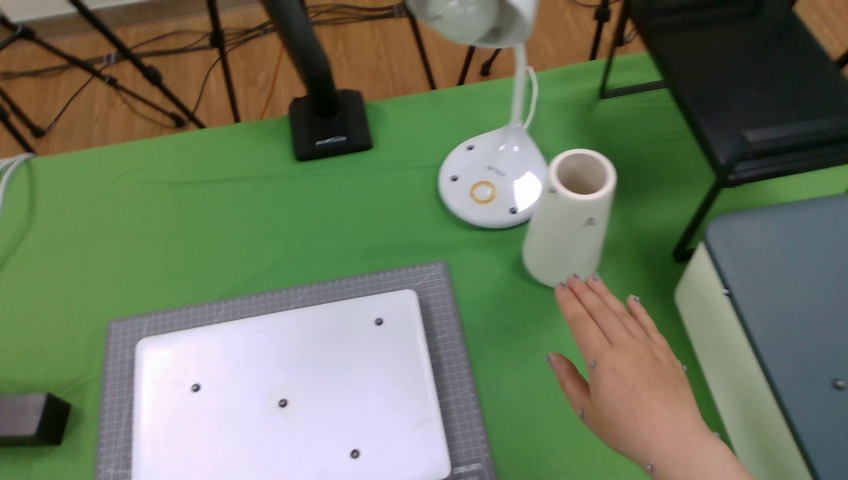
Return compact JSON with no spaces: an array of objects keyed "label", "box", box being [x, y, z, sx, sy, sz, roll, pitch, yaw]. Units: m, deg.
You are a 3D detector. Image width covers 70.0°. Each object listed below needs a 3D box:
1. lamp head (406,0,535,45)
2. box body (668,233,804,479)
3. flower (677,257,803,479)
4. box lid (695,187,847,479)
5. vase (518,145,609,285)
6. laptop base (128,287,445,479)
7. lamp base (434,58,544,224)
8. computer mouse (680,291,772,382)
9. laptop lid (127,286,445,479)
[{"label":"lamp head","box":[0.053,-0.247,0.526,0.112,0.113,0.122,16,80,12]},{"label":"box body","box":[0.447,0.143,0.640,0.254,0.162,0.360,-9,60,-3]},{"label":"flower","box":[0.374,0.183,0.669,0.044,0.038,0.359,5,59,-47]},{"label":"box lid","box":[0.443,0.104,0.577,0.263,0.015,0.368,-9,60,-3]},{"label":"vase","box":[0.167,-0.026,0.729,0.098,0.202,0.097,-2,59,4]},{"label":"laptop base","box":[-0.168,0.192,0.721,0.355,0.023,0.233,-10,64,-4]},{"label":"lamp base","box":[0.096,-0.141,0.809,0.160,0.182,0.178,19,60,13]},{"label":"computer mouse","box":[0.361,0.111,0.726,0.063,0.041,0.116,-16,53,-2]},{"label":"laptop lid","box":[-0.168,0.188,0.710,0.357,0.013,0.239,-9,62,-3]}]
